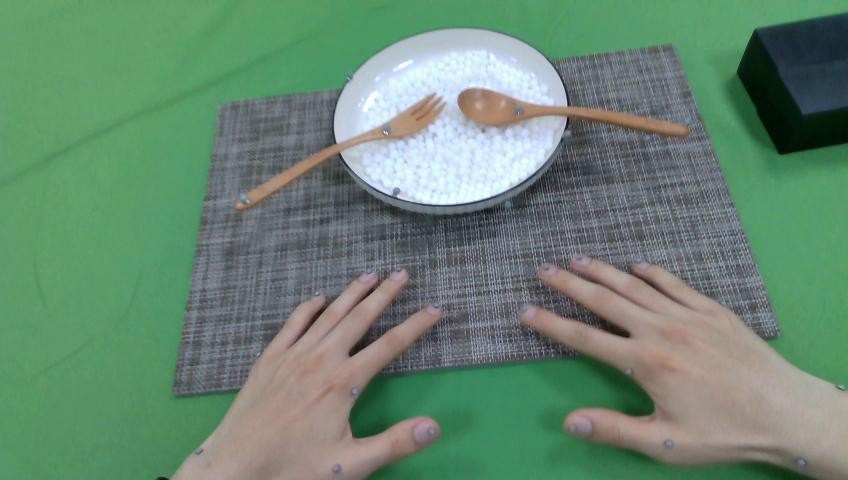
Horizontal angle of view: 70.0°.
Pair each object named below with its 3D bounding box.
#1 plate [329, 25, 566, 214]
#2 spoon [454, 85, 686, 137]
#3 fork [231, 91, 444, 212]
[{"bbox_3d":[0.020,-0.107,0.541,0.209,0.038,0.207,-3,60,6],"label":"plate"},{"bbox_3d":[0.117,-0.106,0.507,0.192,0.022,0.041,12,57,23],"label":"spoon"},{"bbox_3d":[-0.071,-0.078,0.520,0.207,0.019,0.028,-30,61,-19],"label":"fork"}]
